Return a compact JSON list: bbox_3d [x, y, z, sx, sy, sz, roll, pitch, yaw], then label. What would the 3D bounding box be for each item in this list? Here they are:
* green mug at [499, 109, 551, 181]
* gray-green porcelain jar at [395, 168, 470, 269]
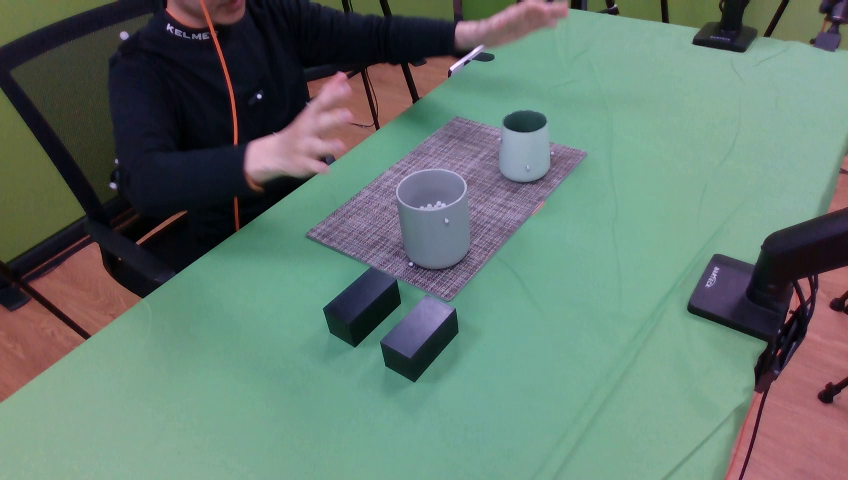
[{"bbox_3d":[0.173,-0.176,1.078,0.093,0.105,0.124,-16,42,-10],"label":"green mug"},{"bbox_3d":[0.016,-0.028,0.913,0.106,0.127,0.105,-3,40,3],"label":"gray-green porcelain jar"}]
